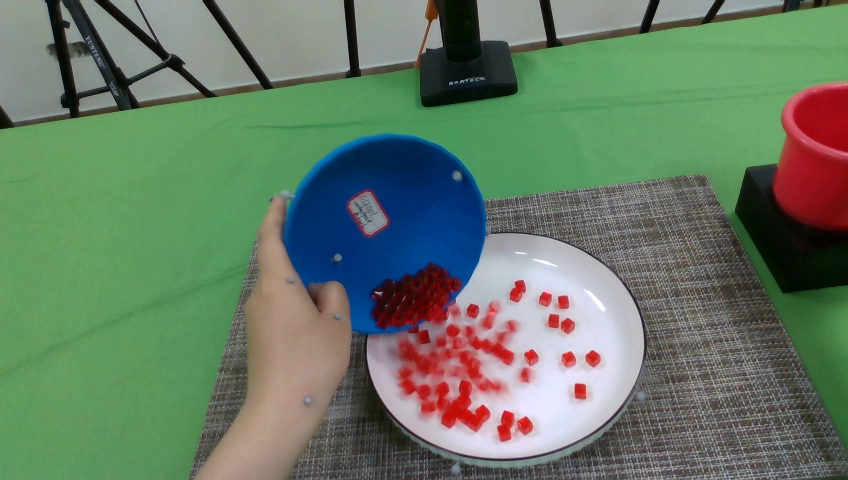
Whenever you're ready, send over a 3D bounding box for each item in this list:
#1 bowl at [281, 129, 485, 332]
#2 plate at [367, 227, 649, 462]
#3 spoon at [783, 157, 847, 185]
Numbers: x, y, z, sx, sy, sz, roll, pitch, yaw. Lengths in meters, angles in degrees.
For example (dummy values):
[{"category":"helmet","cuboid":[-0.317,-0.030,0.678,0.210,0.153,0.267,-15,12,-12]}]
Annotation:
[{"category":"bowl","cuboid":[-0.037,-0.015,0.461,0.151,0.152,0.076,-23,26,-12]},{"category":"plate","cuboid":[0.062,0.075,0.465,0.207,0.039,0.205,-6,45,6]},{"category":"spoon","cuboid":[0.307,-0.059,0.396,0.041,0.194,0.021,-25,87,-5]}]
